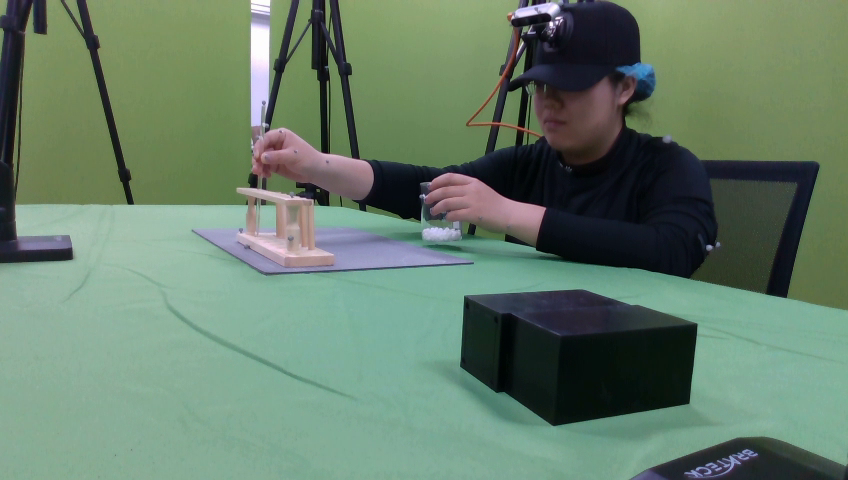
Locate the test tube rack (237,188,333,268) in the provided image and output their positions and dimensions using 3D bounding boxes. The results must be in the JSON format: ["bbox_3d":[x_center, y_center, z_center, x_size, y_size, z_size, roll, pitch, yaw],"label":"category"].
[{"bbox_3d":[-0.203,-0.024,0.854,0.067,0.085,0.241,-2,8,-30],"label":"test tube rack"}]

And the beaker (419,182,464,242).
[{"bbox_3d":[0.033,-0.047,1.013,0.083,0.100,0.074,3,6,41],"label":"beaker"}]

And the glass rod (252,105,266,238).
[{"bbox_3d":[-0.248,-0.102,0.909,0.008,0.199,0.008,5,4,0],"label":"glass rod"}]
